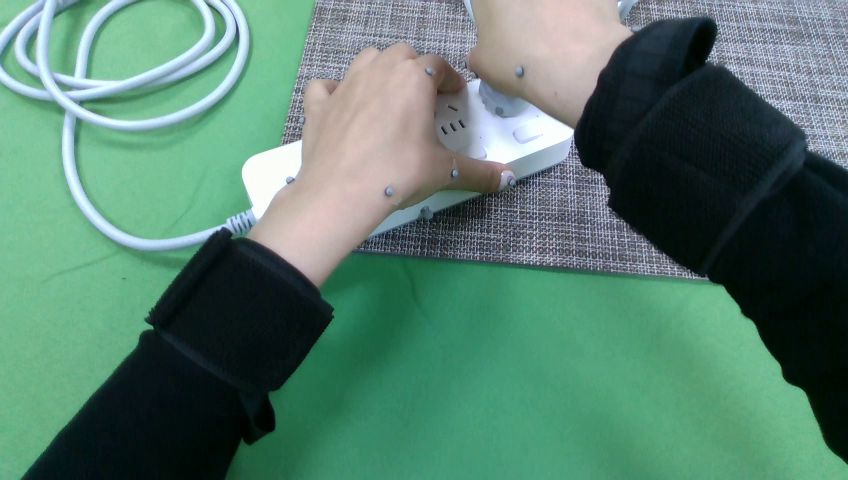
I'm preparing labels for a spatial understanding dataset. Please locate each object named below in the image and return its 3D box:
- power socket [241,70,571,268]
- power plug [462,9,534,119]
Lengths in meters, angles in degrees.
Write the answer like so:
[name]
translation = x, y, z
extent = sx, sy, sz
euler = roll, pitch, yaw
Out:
[power socket]
translation = -0.008, -0.050, 0.392
extent = 0.227, 0.033, 0.071
euler = -22, 63, -13
[power plug]
translation = 0.048, -0.112, 0.401
extent = 0.035, 0.053, 0.072
euler = -11, 65, -10
